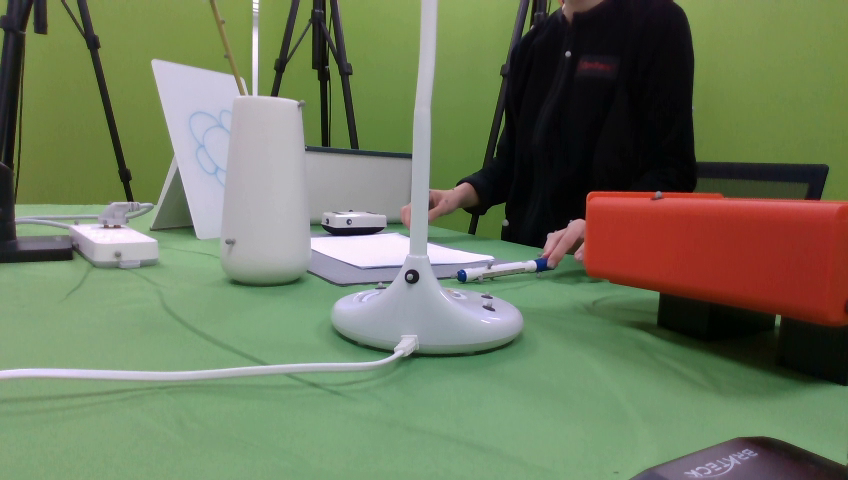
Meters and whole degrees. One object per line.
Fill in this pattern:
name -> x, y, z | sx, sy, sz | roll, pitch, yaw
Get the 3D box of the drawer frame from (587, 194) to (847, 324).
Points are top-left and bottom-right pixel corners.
drawer frame -> 0.286, 0.004, 0.508 | 0.203, 0.082, 0.212 | -1, 6, -29

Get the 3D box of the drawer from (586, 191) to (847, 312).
drawer -> 0.281, 0.001, 0.513 | 0.195, 0.073, 0.210 | -1, 8, -29

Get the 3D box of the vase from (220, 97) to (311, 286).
vase -> -0.172, -0.052, 0.662 | 0.098, 0.200, 0.098 | 3, 8, 0

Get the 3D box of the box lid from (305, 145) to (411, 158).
box lid -> -0.228, -0.200, 1.361 | 0.373, 0.015, 0.262 | -1, 8, -33

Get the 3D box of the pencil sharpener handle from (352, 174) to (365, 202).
pencil sharpener handle -> -0.156, -0.125, 1.450 | 0.031, 0.068, 0.036 | 1, 20, -10

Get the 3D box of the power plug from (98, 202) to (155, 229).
power plug -> -0.416, -0.027, 0.848 | 0.073, 0.052, 0.035 | 0, 8, -28

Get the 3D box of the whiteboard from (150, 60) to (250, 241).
whiteboard -> -0.408, -0.139, 1.093 | 0.143, 0.305, 0.218 | -15, -1, 26

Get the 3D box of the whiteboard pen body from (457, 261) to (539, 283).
whiteboard pen body -> 0.102, 0.037, 0.741 | 0.141, 0.017, 0.017 | -5, 10, -31

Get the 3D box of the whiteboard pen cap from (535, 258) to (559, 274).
whiteboard pen cap -> 0.154, 0.033, 0.770 | 0.033, 0.018, 0.018 | -8, 11, -26

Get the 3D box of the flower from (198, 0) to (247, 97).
flower -> -0.187, -0.133, 0.648 | 0.038, 0.362, 0.044 | 0, 22, 43

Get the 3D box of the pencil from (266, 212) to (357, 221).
pencil -> -0.244, -0.049, 1.319 | 0.195, 0.012, 0.012 | 3, 7, -12

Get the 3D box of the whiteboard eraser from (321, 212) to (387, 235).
whiteboard eraser -> -0.128, -0.031, 1.108 | 0.113, 0.042, 0.055 | -3, 7, -38

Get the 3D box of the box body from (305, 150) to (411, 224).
box body -> -0.230, -0.126, 1.372 | 0.366, 0.160, 0.253 | -2, 9, -33

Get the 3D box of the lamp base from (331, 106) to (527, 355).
lamp base -> 0.006, -0.012, 0.478 | 0.161, 0.180, 0.179 | 2, 10, 2

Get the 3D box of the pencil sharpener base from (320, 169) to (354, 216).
pencil sharpener base -> -0.207, -0.113, 1.439 | 0.077, 0.107, 0.061 | 1, 6, -11

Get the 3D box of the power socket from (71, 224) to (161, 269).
power socket -> -0.408, 0.004, 0.793 | 0.072, 0.032, 0.225 | -2, 8, -38
